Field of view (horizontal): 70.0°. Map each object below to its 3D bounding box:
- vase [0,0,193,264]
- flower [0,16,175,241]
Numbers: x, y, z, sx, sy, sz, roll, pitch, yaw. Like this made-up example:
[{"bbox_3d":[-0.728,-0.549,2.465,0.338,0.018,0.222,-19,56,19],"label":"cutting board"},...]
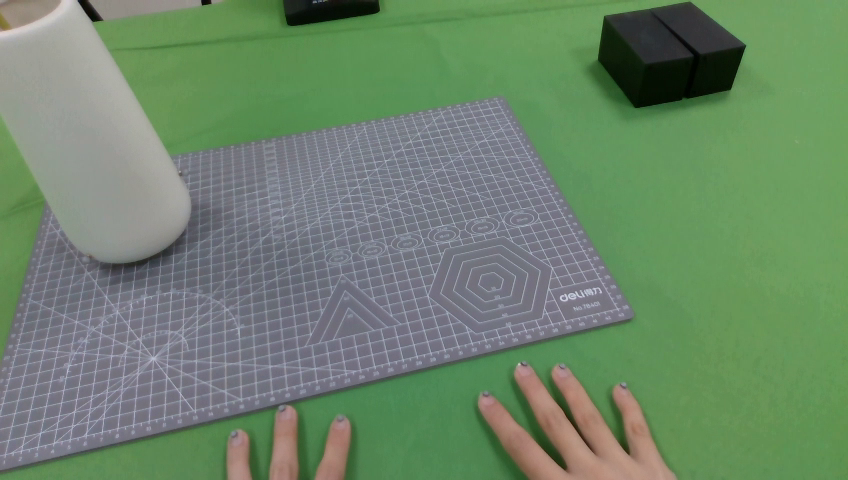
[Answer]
[{"bbox_3d":[-0.246,-0.075,0.448,0.098,0.202,0.097,-2,45,2],"label":"vase"},{"bbox_3d":[-0.268,-0.134,0.392,0.044,0.365,0.038,-41,40,-22],"label":"flower"}]
